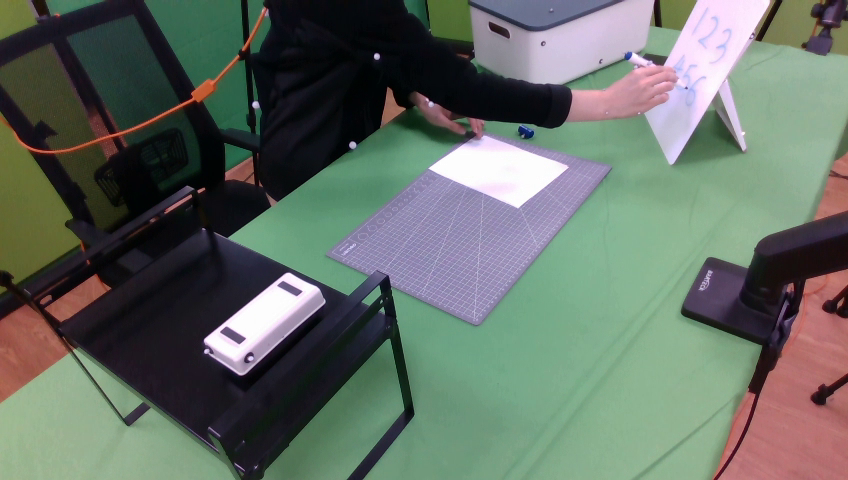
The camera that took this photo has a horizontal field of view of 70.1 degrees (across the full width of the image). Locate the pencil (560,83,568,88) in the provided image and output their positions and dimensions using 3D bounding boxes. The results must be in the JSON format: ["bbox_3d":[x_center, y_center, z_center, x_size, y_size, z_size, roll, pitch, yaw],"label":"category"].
[{"bbox_3d":[0.248,-0.394,1.398,0.193,0.012,0.012,33,54,23],"label":"pencil"}]

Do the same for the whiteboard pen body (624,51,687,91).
[{"bbox_3d":[0.400,-0.287,1.036,0.142,0.017,0.017,21,35,-21],"label":"whiteboard pen body"}]

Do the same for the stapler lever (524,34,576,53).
[{"bbox_3d":[0.297,-0.462,1.424,0.117,0.040,0.027,4,25,17],"label":"stapler lever"}]

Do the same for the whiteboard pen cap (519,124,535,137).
[{"bbox_3d":[0.206,-0.219,1.205,0.018,0.018,0.033,-27,45,-22],"label":"whiteboard pen cap"}]

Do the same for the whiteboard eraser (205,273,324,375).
[{"bbox_3d":[-0.157,0.084,0.605,0.055,0.042,0.113,24,49,30],"label":"whiteboard eraser"}]

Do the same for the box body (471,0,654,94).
[{"bbox_3d":[0.319,-0.498,1.405,0.365,0.161,0.252,-26,43,-21],"label":"box body"}]

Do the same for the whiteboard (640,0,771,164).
[{"bbox_3d":[0.543,-0.299,1.076,0.144,0.305,0.216,12,40,-7],"label":"whiteboard"}]

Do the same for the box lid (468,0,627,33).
[{"bbox_3d":[0.312,-0.554,1.358,0.373,0.015,0.261,-26,44,-20],"label":"box lid"}]

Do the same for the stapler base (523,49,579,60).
[{"bbox_3d":[0.300,-0.441,1.434,0.130,0.024,0.041,3,24,18],"label":"stapler base"}]
